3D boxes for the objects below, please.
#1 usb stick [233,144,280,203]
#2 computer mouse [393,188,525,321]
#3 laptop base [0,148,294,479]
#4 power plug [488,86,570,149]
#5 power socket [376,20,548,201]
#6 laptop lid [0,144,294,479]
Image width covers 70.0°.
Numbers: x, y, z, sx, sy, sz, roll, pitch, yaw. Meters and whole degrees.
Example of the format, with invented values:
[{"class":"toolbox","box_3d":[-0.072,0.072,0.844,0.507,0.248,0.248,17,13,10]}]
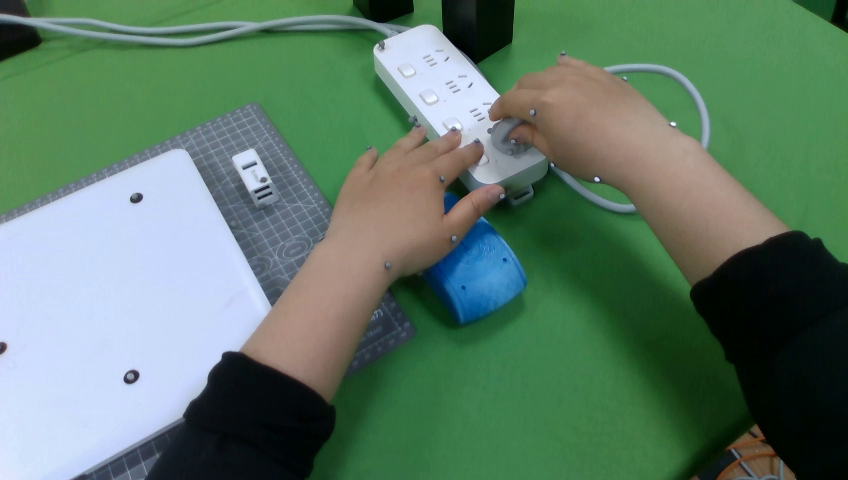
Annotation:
[{"class":"usb stick","box_3d":[-0.146,-0.061,0.518,0.021,0.027,0.058,-27,56,-12]},{"class":"computer mouse","box_3d":[0.023,0.004,0.459,0.063,0.041,0.116,-28,53,-9]},{"class":"laptop base","box_3d":[-0.297,0.081,0.442,0.354,0.023,0.233,-28,62,-15]},{"class":"power plug","box_3d":[0.088,-0.093,0.500,0.073,0.053,0.035,-11,54,-11]},{"class":"power socket","box_3d":[0.029,-0.124,0.546,0.072,0.033,0.224,-26,58,-12]},{"class":"laptop lid","box_3d":[-0.297,0.076,0.431,0.357,0.013,0.239,-27,61,-13]}]
